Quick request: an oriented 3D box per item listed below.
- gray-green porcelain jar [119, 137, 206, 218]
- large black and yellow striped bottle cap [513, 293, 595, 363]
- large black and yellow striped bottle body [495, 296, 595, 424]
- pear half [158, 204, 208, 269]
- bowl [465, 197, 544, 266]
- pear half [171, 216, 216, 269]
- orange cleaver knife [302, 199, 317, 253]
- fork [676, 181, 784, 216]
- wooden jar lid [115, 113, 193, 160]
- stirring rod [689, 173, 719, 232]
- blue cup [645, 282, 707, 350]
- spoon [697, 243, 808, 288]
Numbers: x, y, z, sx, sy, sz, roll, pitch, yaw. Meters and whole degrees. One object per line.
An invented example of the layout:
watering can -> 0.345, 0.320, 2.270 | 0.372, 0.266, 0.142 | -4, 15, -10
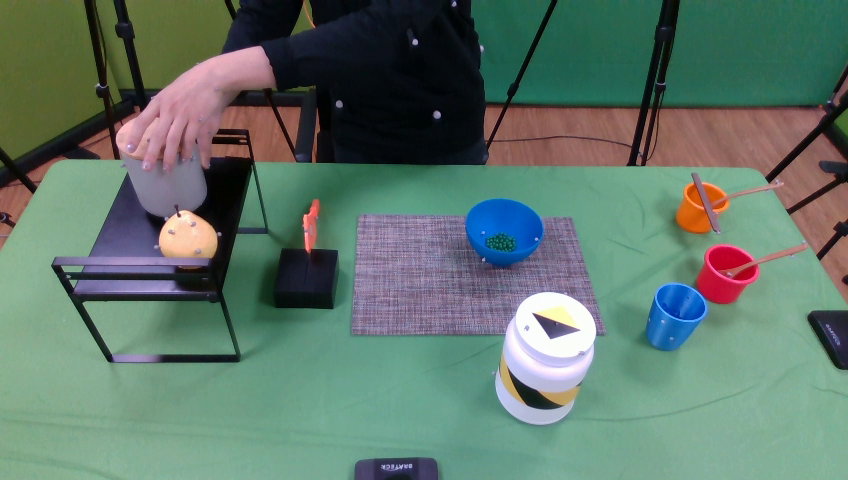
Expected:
gray-green porcelain jar -> -0.403, -0.106, 0.946 | 0.106, 0.127, 0.105 | 3, 46, -2
large black and yellow striped bottle cap -> 0.186, 0.123, 0.863 | 0.115, 0.019, 0.114 | 3, 45, -3
large black and yellow striped bottle body -> 0.183, 0.182, 0.923 | 0.131, 0.185, 0.130 | 2, 46, -2
pear half -> -0.352, -0.015, 0.873 | 0.056, 0.110, 0.076 | 25, 45, 19
bowl -> 0.149, -0.004, 1.167 | 0.151, 0.077, 0.150 | 2, 46, -2
pear half -> -0.323, 0.007, 0.867 | 0.031, 0.088, 0.070 | 25, 45, 20
orange cleaver knife -> -0.219, -0.031, 1.168 | 0.012, 0.077, 0.210 | -5, 17, -3
fork -> 0.617, -0.084, 1.235 | 0.207, 0.019, 0.028 | -23, 20, 38
wooden jar lid -> -0.399, -0.151, 0.901 | 0.108, 0.021, 0.107 | 3, 46, -3
stirring rod -> 0.566, -0.080, 1.225 | 0.014, 0.006, 0.175 | 2, 46, 2
blue cup -> 0.425, 0.136, 1.042 | 0.093, 0.101, 0.092 | 1, 44, -1
spoon -> 0.601, 0.045, 1.115 | 0.194, 0.022, 0.041 | -29, 35, 30
